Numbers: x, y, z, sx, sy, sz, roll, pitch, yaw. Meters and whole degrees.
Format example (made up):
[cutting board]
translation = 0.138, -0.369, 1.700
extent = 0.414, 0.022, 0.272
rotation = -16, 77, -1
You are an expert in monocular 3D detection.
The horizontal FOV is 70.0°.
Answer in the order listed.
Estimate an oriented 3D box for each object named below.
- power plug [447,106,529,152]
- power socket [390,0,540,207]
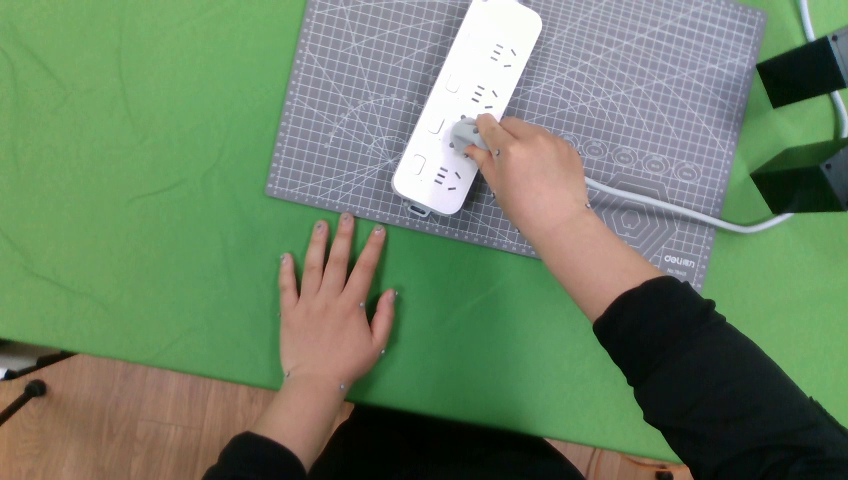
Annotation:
[power plug]
translation = 0.053, -0.092, 0.556
extent = 0.073, 0.052, 0.035
rotation = 40, 86, -10
[power socket]
translation = 0.038, -0.138, 0.575
extent = 0.072, 0.032, 0.226
rotation = 24, 91, -7
